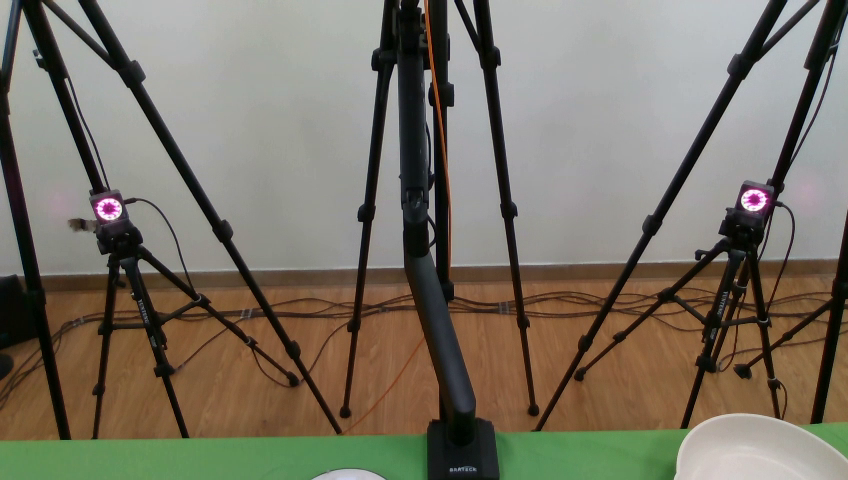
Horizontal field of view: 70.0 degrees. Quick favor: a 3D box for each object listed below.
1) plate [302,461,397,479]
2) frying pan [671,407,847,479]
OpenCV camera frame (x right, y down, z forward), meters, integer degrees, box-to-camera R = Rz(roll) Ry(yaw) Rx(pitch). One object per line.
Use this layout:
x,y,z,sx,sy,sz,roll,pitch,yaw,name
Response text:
-0.121,0.438,0.925,0.208,0.039,0.205,-1,36,1,plate
0.523,0.443,0.844,0.306,0.103,0.484,1,28,5,frying pan
